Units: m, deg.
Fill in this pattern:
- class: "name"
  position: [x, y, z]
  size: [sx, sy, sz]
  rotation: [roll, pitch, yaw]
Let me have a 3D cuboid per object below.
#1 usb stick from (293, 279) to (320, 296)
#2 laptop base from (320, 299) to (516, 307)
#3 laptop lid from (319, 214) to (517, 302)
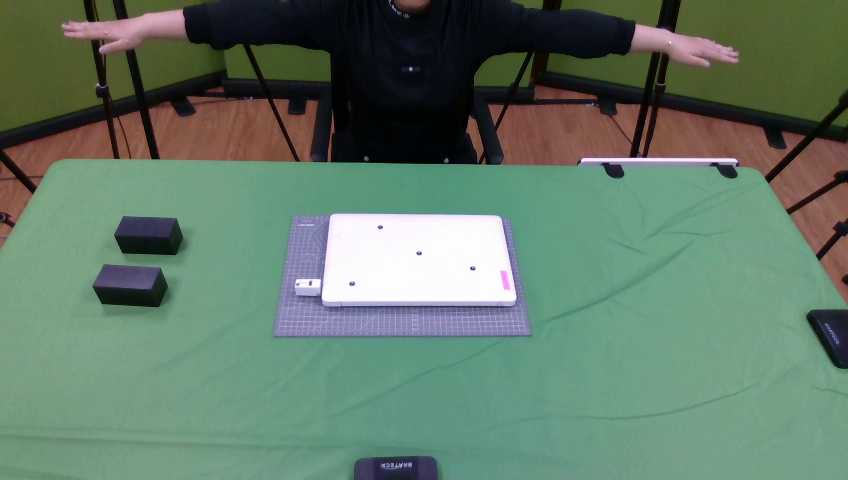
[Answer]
- class: "usb stick"
  position: [-0.202, 0.086, 1.083]
  size: [0.059, 0.027, 0.021]
  rotation: [3, 46, -5]
- class: "laptop base"
  position: [-0.013, 0.039, 1.160]
  size: [0.355, 0.023, 0.234]
  rotation: [0, 43, -4]
- class: "laptop lid"
  position: [-0.013, 0.029, 1.154]
  size: [0.357, 0.013, 0.240]
  rotation: [2, 43, -3]
